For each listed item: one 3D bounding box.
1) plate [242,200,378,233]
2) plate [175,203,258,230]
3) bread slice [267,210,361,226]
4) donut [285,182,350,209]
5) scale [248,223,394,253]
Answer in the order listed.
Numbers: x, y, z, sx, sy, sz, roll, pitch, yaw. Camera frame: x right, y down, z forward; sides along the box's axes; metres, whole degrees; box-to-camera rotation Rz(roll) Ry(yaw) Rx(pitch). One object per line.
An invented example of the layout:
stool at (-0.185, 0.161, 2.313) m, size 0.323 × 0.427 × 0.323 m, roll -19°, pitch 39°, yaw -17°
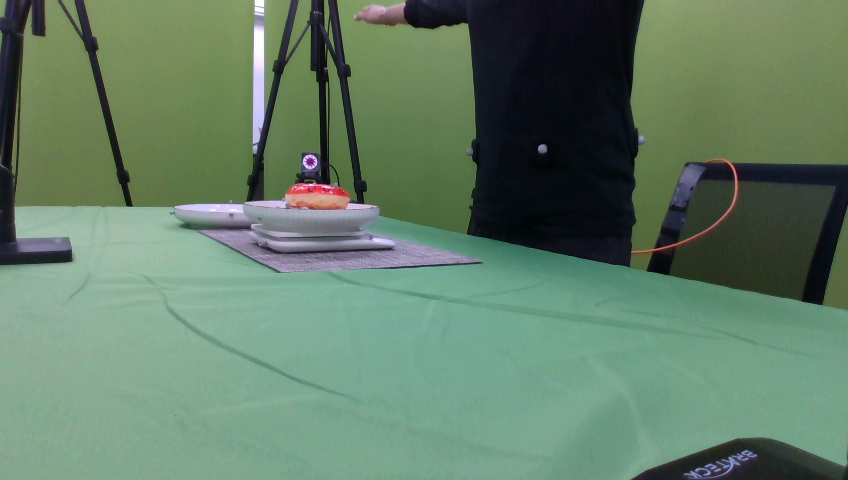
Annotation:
plate at (-0.176, -0.038, 0.939) m, size 0.209 × 0.038 × 0.209 m, roll 3°, pitch 7°, yaw 0°
plate at (-0.381, -0.047, 1.199) m, size 0.208 × 0.039 × 0.207 m, roll 3°, pitch 7°, yaw 0°
bread slice at (-0.174, -0.036, 0.934) m, size 0.132 × 0.019 × 0.104 m, roll -1°, pitch 7°, yaw -28°
donut at (-0.165, -0.065, 0.938) m, size 0.099 × 0.048 × 0.099 m, roll 3°, pitch 3°, yaw 0°
scale at (-0.162, -0.006, 0.954) m, size 0.202 × 0.031 × 0.148 m, roll -2°, pitch 8°, yaw -32°
